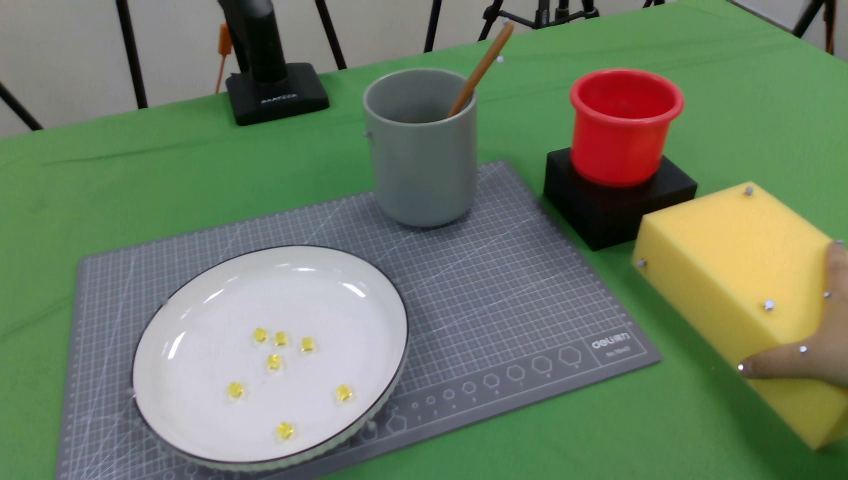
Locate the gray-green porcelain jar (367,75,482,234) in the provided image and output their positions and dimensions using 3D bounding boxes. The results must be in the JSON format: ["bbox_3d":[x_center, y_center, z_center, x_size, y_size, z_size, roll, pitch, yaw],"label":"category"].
[{"bbox_3d":[0.003,-0.078,0.587,0.106,0.127,0.105,-2,42,2],"label":"gray-green porcelain jar"}]

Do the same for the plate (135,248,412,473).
[{"bbox_3d":[-0.112,0.089,0.475,0.207,0.039,0.205,-2,42,2],"label":"plate"}]

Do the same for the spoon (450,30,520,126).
[{"bbox_3d":[0.033,-0.106,0.561,0.022,0.194,0.041,18,33,-18],"label":"spoon"}]

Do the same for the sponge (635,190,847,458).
[{"bbox_3d":[0.284,0.052,0.480,0.118,0.061,0.204,-17,44,-16],"label":"sponge"}]
